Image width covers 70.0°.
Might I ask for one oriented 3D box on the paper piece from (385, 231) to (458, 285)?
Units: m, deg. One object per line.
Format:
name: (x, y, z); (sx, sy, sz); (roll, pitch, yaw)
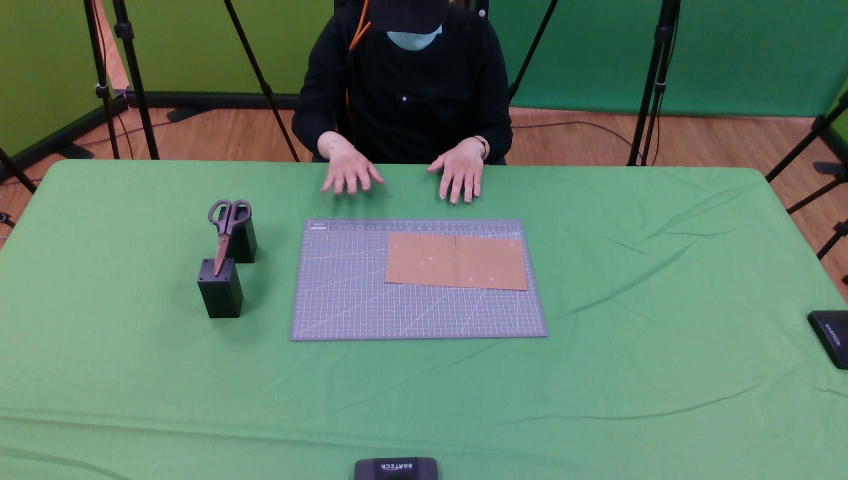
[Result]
paper piece: (-0.002, 0.031, 1.169); (0.136, 0.004, 0.134); (3, 47, 0)

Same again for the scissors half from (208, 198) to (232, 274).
scissors half: (-0.352, -0.009, 1.046); (0.040, 0.013, 0.174); (-3, 49, -15)

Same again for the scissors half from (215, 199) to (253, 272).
scissors half: (-0.332, -0.009, 1.049); (0.040, 0.013, 0.174); (7, 48, 1)

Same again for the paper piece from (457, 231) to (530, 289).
paper piece: (0.132, 0.038, 1.171); (0.138, 0.009, 0.135); (4, 50, -1)
